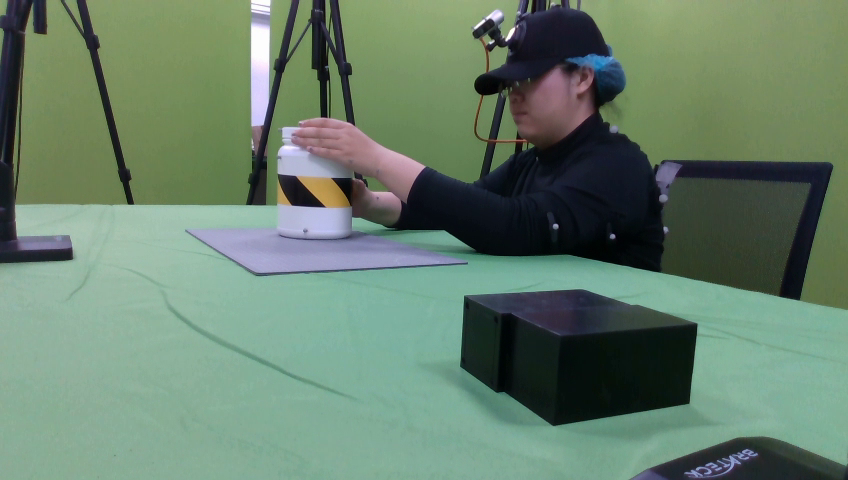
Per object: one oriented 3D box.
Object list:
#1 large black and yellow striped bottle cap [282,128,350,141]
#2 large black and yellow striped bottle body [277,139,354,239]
[{"bbox_3d":[-0.185,-0.181,1.043,0.115,0.019,0.115,1,7,0],"label":"large black and yellow striped bottle cap"},{"bbox_3d":[-0.189,-0.098,1.055,0.131,0.184,0.130,3,7,0],"label":"large black and yellow striped bottle body"}]
